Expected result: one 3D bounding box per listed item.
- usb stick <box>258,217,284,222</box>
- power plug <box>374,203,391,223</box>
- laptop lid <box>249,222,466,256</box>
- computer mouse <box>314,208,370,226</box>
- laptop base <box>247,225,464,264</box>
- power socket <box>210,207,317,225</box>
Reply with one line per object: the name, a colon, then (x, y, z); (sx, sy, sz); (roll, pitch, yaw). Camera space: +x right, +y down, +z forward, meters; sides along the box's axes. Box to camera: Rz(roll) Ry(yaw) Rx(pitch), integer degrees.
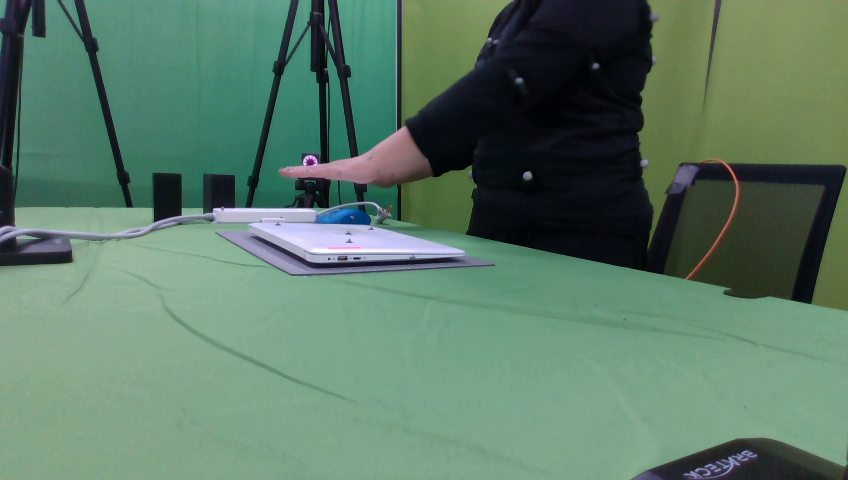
usb stick: (-0.290, -0.028, 1.118); (0.059, 0.027, 0.021); (-2, 10, -28)
power plug: (-0.099, -0.070, 1.410); (0.035, 0.052, 0.072); (29, 16, -29)
laptop lid: (-0.121, -0.005, 0.955); (0.243, 0.013, 0.355); (1, 7, -28)
computer mouse: (-0.175, -0.046, 1.292); (0.118, 0.041, 0.062); (-7, 14, -35)
laptop base: (-0.124, 0.006, 0.955); (0.237, 0.023, 0.352); (2, 6, -30)
power socket: (-0.335, -0.051, 1.281); (0.228, 0.032, 0.072); (-1, 9, -29)
